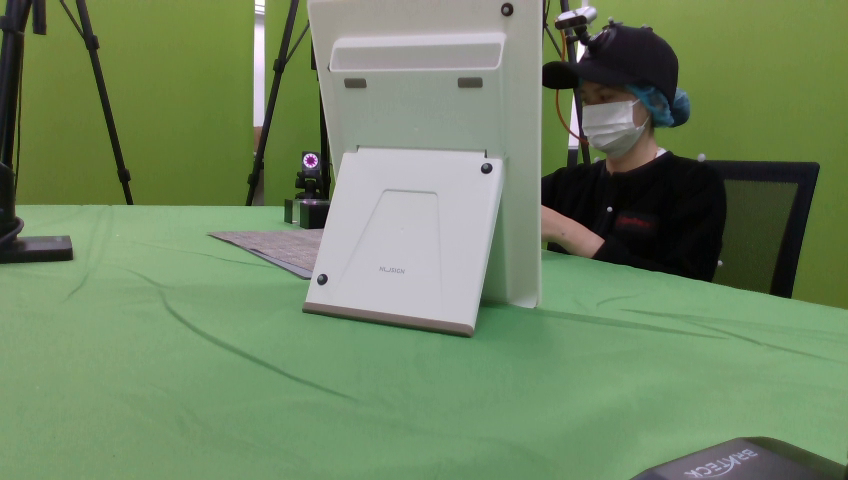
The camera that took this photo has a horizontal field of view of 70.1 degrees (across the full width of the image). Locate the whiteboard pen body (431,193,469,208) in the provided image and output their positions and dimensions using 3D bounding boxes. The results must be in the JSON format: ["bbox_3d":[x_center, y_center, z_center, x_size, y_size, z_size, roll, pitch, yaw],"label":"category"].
[{"bbox_3d":[0.047,-0.072,1.088,0.017,0.017,0.140,-1,-2,-24],"label":"whiteboard pen body"}]

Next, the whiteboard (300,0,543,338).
[{"bbox_3d":[-0.020,-0.050,0.523,0.216,0.305,0.144,6,27,22],"label":"whiteboard"}]

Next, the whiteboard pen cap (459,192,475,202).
[{"bbox_3d":[0.073,-0.073,1.034,0.018,0.018,0.033,-1,0,-23],"label":"whiteboard pen cap"}]
